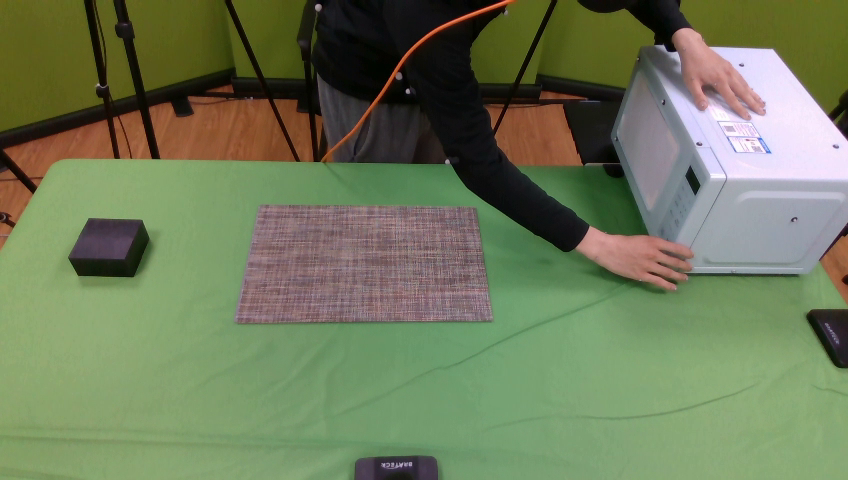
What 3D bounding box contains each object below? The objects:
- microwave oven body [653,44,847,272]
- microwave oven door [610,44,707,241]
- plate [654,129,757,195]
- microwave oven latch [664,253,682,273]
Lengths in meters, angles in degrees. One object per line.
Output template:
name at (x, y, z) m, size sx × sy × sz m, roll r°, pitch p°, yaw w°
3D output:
microwave oven body at (0.620, -0.172, 1.234) m, size 0.326 × 0.261 × 0.439 m, roll 0°, pitch 46°, yaw -3°
microwave oven door at (0.474, -0.208, 1.250) m, size 0.039 × 0.245 × 0.353 m, roll 0°, pitch 47°, yaw -3°
plate at (0.600, -0.165, 1.305) m, size 0.209 × 0.038 × 0.208 m, roll 0°, pitch 46°, yaw 0°
microwave oven latch at (0.482, 0.026, 1.170) m, size 0.030 × 0.029 × 0.079 m, roll 17°, pitch 48°, yaw 14°
